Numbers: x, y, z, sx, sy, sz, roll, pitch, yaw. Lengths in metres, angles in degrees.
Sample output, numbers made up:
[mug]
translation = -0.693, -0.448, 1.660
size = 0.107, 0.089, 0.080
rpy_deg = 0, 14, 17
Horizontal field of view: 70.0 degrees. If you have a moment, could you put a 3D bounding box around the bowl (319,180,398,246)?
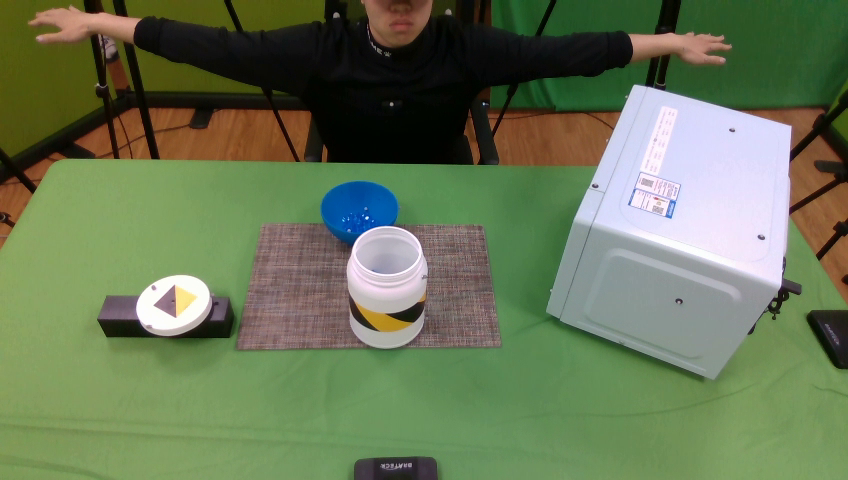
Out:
[bowl]
translation = -0.126, -0.039, 1.181
size = 0.151, 0.077, 0.150
rpy_deg = 3, 46, -2

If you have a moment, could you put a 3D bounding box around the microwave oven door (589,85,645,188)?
[microwave oven door]
translation = 0.342, -0.107, 1.149
size = 0.039, 0.245, 0.354
rpy_deg = 20, 48, 15

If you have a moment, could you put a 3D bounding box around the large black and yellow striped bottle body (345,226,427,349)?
[large black and yellow striped bottle body]
translation = -0.062, 0.078, 0.998
size = 0.131, 0.185, 0.130
rpy_deg = 2, 46, -2

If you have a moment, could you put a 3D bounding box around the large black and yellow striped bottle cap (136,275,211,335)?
[large black and yellow striped bottle cap]
translation = -0.412, 0.105, 0.999
size = 0.115, 0.019, 0.114
rpy_deg = 3, 46, -3

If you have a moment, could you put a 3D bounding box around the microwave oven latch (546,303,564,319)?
[microwave oven latch]
translation = 0.242, 0.102, 1.081
size = 0.030, 0.029, 0.079
rpy_deg = 21, 48, 17

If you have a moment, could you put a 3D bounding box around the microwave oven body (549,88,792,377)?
[microwave oven body]
translation = 0.456, -0.028, 1.088
size = 0.325, 0.261, 0.440
rpy_deg = 20, 47, 16
